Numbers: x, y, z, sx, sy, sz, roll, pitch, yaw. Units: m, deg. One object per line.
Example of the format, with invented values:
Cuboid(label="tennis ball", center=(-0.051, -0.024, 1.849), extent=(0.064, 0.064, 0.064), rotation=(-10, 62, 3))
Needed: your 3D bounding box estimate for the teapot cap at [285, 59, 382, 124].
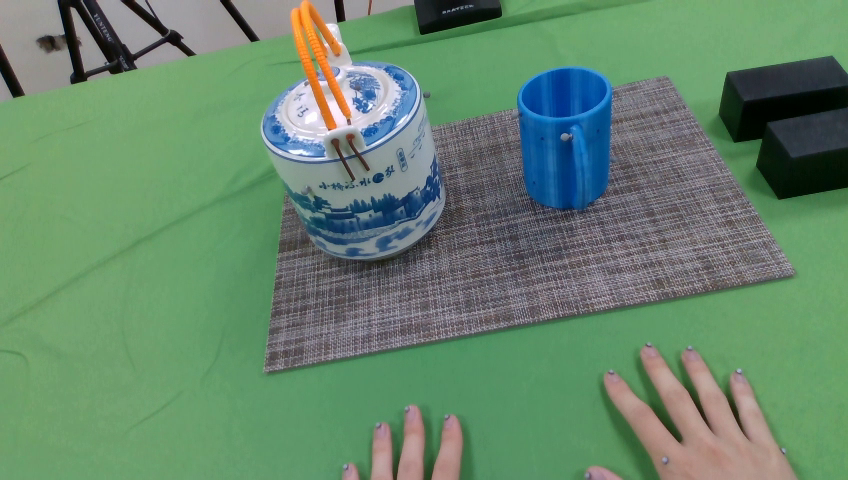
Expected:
Cuboid(label="teapot cap", center=(-0.078, -0.129, 0.512), extent=(0.085, 0.044, 0.084), rotation=(-5, 46, 6))

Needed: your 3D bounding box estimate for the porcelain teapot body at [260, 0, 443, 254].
Cuboid(label="porcelain teapot body", center=(-0.075, -0.122, 0.560), extent=(0.145, 0.228, 0.203), rotation=(-17, 47, 0))

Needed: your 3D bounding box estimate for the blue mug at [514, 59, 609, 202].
Cuboid(label="blue mug", center=(0.132, -0.090, 0.560), extent=(0.082, 0.107, 0.115), rotation=(-11, 47, 5))
